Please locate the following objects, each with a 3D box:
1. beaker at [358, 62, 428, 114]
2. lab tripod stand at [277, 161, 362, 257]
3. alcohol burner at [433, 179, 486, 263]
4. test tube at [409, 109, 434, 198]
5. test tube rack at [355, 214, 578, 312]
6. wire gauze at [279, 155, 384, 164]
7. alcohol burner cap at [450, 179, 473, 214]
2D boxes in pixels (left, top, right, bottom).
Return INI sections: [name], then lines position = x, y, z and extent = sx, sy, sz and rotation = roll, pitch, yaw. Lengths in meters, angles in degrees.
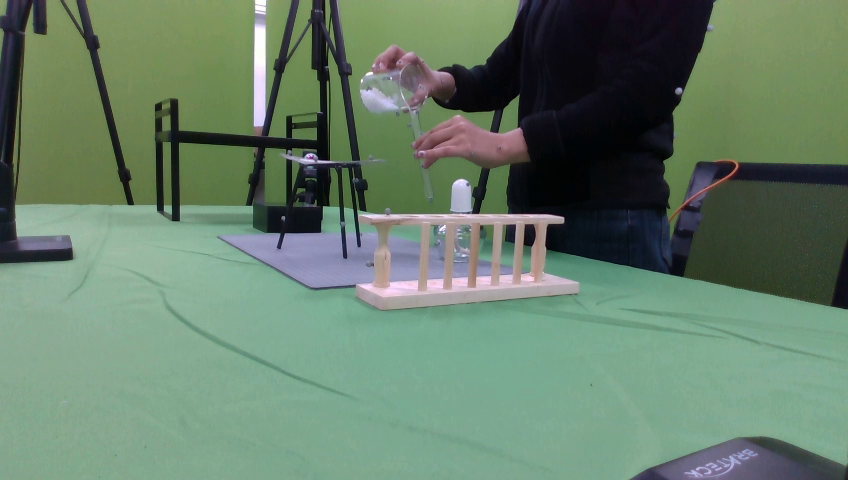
[beaker]
position = -0.055, -0.252, 1.026
extent = 0.100, 0.084, 0.074
rotation = 2, 6, 39
[lab tripod stand]
position = -0.143, -0.049, 0.884
extent = 0.148, 0.131, 0.148
rotation = 2, 9, 0
[alcohol burner]
position = 0.051, -0.027, 0.863
extent = 0.078, 0.119, 0.078
rotation = 2, 6, 0
[test tube]
position = -0.004, -0.142, 0.991
extent = 0.017, 0.150, 0.017
rotation = -11, -7, -1
[test tube rack]
position = 0.053, 0.018, 0.640
extent = 0.243, 0.085, 0.066
rotation = -1, 9, -29
[wire gauze]
position = -0.134, -0.114, 0.875
extent = 0.122, 0.011, 0.124
rotation = -1, 8, -30
[alcohol burner cap]
position = 0.053, -0.063, 0.859
extent = 0.034, 0.048, 0.034
rotation = 0, 14, 0
